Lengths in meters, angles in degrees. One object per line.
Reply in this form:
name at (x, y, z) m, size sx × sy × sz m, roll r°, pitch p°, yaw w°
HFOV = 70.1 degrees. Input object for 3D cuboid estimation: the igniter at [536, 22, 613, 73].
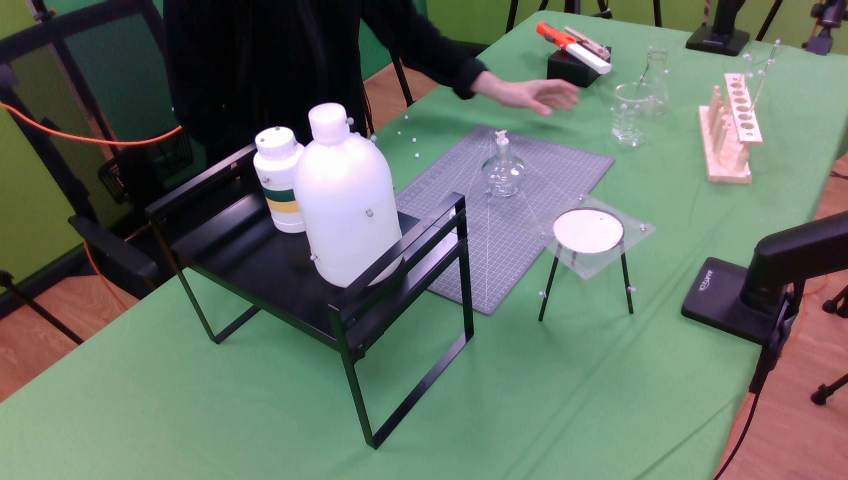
igniter at (0.330, -0.439, 1.366) m, size 0.057 × 0.025 × 0.274 m, roll -12°, pitch 41°, yaw -20°

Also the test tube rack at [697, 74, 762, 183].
test tube rack at (0.547, -0.208, 1.095) m, size 0.066 × 0.085 × 0.242 m, roll 5°, pitch 42°, yaw 15°

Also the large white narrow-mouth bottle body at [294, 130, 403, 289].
large white narrow-mouth bottle body at (-0.082, -0.047, 0.634) m, size 0.102 × 0.195 × 0.101 m, roll -4°, pitch 39°, yaw 3°

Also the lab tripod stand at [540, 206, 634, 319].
lab tripod stand at (0.218, 0.034, 0.821) m, size 0.148 × 0.132 × 0.147 m, roll -4°, pitch 42°, yaw 4°

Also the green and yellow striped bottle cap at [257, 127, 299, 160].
green and yellow striped bottle cap at (-0.169, -0.112, 0.699) m, size 0.045 × 0.020 × 0.045 m, roll -5°, pitch 41°, yaw 5°

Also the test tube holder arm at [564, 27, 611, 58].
test tube holder arm at (0.369, -0.450, 1.373) m, size 0.013 × 0.015 × 0.177 m, roll -40°, pitch 41°, yaw 10°

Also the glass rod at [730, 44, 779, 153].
glass rod at (0.555, -0.233, 1.020) m, size 0.008 × 0.200 × 0.008 m, roll 2°, pitch 39°, yaw -1°

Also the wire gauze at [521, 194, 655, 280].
wire gauze at (0.207, -0.012, 0.772) m, size 0.122 × 0.011 × 0.124 m, roll -28°, pitch 44°, yaw -20°

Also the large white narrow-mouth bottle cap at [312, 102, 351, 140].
large white narrow-mouth bottle cap at (-0.089, -0.114, 0.579) m, size 0.038 × 0.024 × 0.037 m, roll -3°, pitch 39°, yaw 3°

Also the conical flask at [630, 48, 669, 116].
conical flask at (0.457, -0.317, 1.205) m, size 0.075 × 0.122 × 0.075 m, roll -4°, pitch 41°, yaw 4°

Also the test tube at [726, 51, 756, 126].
test tube at (0.568, -0.268, 1.085) m, size 0.017 × 0.151 × 0.017 m, roll -4°, pitch 46°, yaw 4°

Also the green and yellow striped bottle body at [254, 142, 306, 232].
green and yellow striped bottle body at (-0.165, -0.073, 0.732) m, size 0.063 × 0.120 × 0.063 m, roll -4°, pitch 41°, yaw 4°

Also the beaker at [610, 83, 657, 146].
beaker at (0.388, -0.235, 1.138) m, size 0.074 × 0.101 × 0.083 m, roll -31°, pitch 45°, yaw -25°

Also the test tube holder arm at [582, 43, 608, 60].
test tube holder arm at (0.379, -0.420, 1.341) m, size 0.010 × 0.015 × 0.087 m, roll -40°, pitch 41°, yaw 11°

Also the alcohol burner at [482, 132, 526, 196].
alcohol burner at (0.137, -0.136, 1.042) m, size 0.078 × 0.119 × 0.077 m, roll -4°, pitch 43°, yaw 4°

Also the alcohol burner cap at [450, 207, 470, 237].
alcohol burner cap at (0.057, -0.032, 0.987) m, size 0.034 × 0.048 × 0.033 m, roll -4°, pitch 41°, yaw 4°
